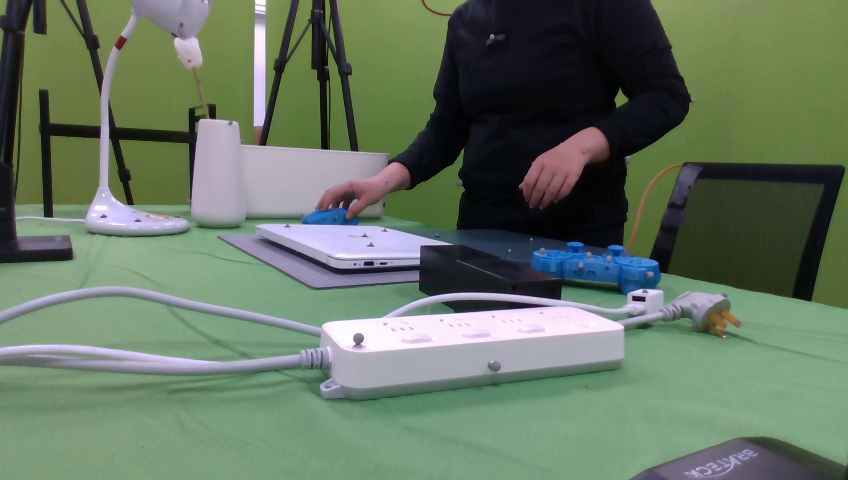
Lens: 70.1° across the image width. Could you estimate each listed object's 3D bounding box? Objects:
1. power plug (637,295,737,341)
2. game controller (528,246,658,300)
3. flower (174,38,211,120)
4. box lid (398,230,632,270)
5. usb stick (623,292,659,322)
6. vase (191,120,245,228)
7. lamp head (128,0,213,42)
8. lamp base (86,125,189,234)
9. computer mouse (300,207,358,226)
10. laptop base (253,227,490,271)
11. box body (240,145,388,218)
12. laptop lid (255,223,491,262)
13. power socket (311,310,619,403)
[{"bbox_3d":[0.235,0.077,0.536,0.072,0.035,0.052,-34,41,-4],"label":"power plug"},{"bbox_3d":[0.202,0.036,0.732,0.155,0.051,0.097,5,10,20],"label":"game controller"},{"bbox_3d":[-0.401,-0.207,1.141,0.038,0.361,0.044,-14,3,44],"label":"flower"},{"bbox_3d":[0.140,0.013,1.045,0.265,0.015,0.369,-1,8,-32],"label":"box lid"},{"bbox_3d":[0.211,0.064,0.580,0.021,0.027,0.059,-2,-3,36],"label":"usb stick"},{"bbox_3d":[-0.389,-0.124,1.142,0.098,0.200,0.098,3,9,0],"label":"vase"},{"bbox_3d":[-0.423,-0.394,0.980,0.123,0.112,0.112,20,7,-3],"label":"lamp head"},{"bbox_3d":[-0.497,-0.105,1.027,0.179,0.180,0.160,1,7,3],"label":"lamp base"},{"bbox_3d":[-0.197,-0.046,1.250,0.118,0.041,0.062,-4,11,-22],"label":"computer mouse"},{"bbox_3d":[-0.096,0.012,0.911,0.237,0.023,0.352,2,6,-32],"label":"laptop base"},{"bbox_3d":[-0.297,-0.143,1.474,0.366,0.160,0.253,-1,9,-30],"label":"box body"},{"bbox_3d":[-0.093,0.000,0.911,0.243,0.013,0.355,1,7,-30],"label":"laptop lid"},{"bbox_3d":[0.034,0.074,0.415,0.228,0.032,0.072,-1,7,-24],"label":"power socket"}]
